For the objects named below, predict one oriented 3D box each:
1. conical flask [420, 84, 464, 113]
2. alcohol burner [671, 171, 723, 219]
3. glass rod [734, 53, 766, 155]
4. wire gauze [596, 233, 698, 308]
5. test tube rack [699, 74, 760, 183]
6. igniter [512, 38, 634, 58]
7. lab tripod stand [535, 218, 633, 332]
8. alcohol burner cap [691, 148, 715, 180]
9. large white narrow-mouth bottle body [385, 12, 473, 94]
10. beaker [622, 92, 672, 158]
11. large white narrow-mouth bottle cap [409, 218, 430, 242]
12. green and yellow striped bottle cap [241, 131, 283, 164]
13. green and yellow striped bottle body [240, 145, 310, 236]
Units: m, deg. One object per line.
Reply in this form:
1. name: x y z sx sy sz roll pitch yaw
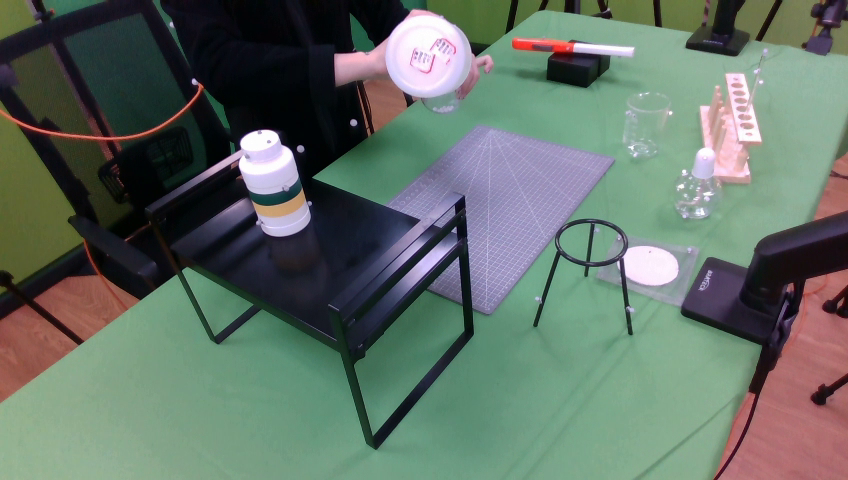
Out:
1. conical flask: 0.031 -0.265 0.995 0.075 0.122 0.075 0 79 0
2. alcohol burner: 0.434 -0.093 0.955 0.078 0.119 0.077 -3 43 4
3. glass rod: 0.540 -0.219 1.006 0.008 0.201 0.008 -5 45 6
4. wire gauze: 0.331 0.037 0.897 0.124 0.011 0.121 18 47 26
5. test tube rack: 0.547 -0.208 1.095 0.066 0.085 0.242 6 42 16
6. igniter: 0.328 -0.433 1.360 0.275 0.025 0.057 12 33 20
7. lab tripod stand: 0.215 0.050 0.803 0.148 0.132 0.147 -4 42 4
8. alcohol burner cap: 0.432 -0.120 0.930 0.034 0.048 0.033 -7 48 8
9. large white narrow-mouth bottle body: 0.016 -0.254 0.841 0.101 0.102 0.195 2 14 10
10. beaker: 0.402 -0.210 1.106 0.074 0.101 0.083 -9 40 -2
11. large white narrow-mouth bottle cap: -0.008 -0.017 0.999 0.038 0.024 0.037 -3 39 3
12. green and yellow striped bottle cap: -0.187 -0.107 0.695 0.045 0.020 0.045 -3 39 3
13. green and yellow striped bottle body: -0.181 -0.069 0.729 0.063 0.120 0.063 -4 40 4
